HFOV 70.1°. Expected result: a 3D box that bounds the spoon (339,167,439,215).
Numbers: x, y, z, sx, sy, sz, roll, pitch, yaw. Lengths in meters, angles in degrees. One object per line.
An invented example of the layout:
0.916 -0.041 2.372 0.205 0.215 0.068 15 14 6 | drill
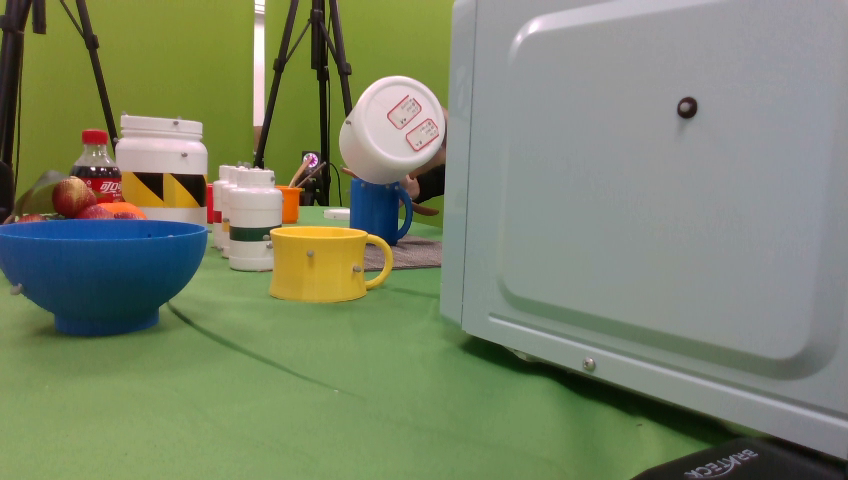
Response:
-0.062 -0.087 1.066 0.193 0.021 0.041 28 -9 5 | spoon

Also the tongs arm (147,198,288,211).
-0.503 -0.090 1.513 0.028 0.028 0.389 -1 3 38 | tongs arm

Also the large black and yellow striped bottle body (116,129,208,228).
-0.404 -0.089 0.937 0.131 0.184 0.130 3 7 0 | large black and yellow striped bottle body

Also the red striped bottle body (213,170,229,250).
-0.283 -0.047 0.909 0.063 0.119 0.063 3 14 0 | red striped bottle body

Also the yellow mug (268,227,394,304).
-0.094 0.023 0.630 0.131 0.064 0.099 0 7 -22 | yellow mug

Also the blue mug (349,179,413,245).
-0.069 -0.047 1.001 0.116 0.106 0.083 6 9 28 | blue mug

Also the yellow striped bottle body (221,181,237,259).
-0.244 -0.035 0.823 0.063 0.120 0.063 3 8 0 | yellow striped bottle body

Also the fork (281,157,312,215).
-0.289 -0.116 1.321 0.028 0.019 0.207 6 51 19 | fork

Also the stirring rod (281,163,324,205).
-0.278 -0.105 1.293 0.176 0.006 0.014 -47 25 -19 | stirring rod

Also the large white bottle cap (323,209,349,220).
-0.184 -0.062 1.449 0.115 0.018 0.115 2 8 0 | large white bottle cap

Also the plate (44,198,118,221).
-0.617 -0.056 1.179 0.209 0.038 0.209 3 7 0 | plate

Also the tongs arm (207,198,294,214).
-0.423 -0.084 1.473 0.050 0.026 0.386 1 6 22 | tongs arm

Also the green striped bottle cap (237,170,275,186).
-0.205 -0.075 0.737 0.044 0.020 0.044 1 6 0 | green striped bottle cap

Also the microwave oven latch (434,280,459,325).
0.044 0.045 0.470 0.079 0.029 0.030 -2 8 -39 | microwave oven latch

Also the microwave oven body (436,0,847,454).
0.279 -0.040 0.464 0.444 0.260 0.324 -3 9 -41 | microwave oven body

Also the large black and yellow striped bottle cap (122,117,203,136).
-0.399 -0.174 0.927 0.115 0.019 0.115 5 9 -1 | large black and yellow striped bottle cap

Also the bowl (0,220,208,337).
-0.251 0.029 0.479 0.151 0.077 0.151 2 7 0 | bowl

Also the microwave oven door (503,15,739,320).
0.218 -0.065 0.600 0.358 0.243 0.039 -4 10 -41 | microwave oven door

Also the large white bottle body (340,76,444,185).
-0.055 -0.155 0.908 0.131 0.130 0.184 0 -5 -16 | large white bottle body

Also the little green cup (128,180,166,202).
-0.485 -0.087 1.062 0.061 0.038 0.061 0 6 0 | little green cup

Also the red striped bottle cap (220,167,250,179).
-0.281 -0.099 0.901 0.044 0.017 0.044 -1 5 0 | red striped bottle cap

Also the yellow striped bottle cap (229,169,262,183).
-0.241 -0.086 0.816 0.044 0.018 0.044 0 6 0 | yellow striped bottle cap

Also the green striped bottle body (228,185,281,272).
-0.208 -0.024 0.745 0.063 0.119 0.063 2 7 0 | green striped bottle body
